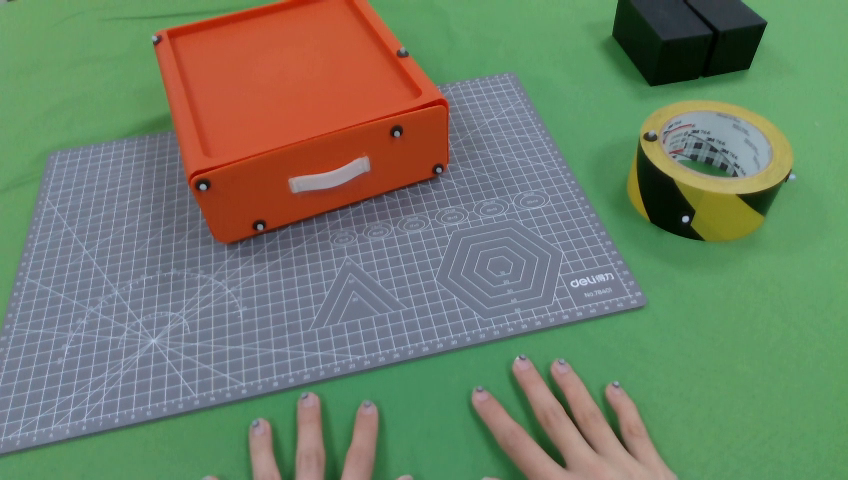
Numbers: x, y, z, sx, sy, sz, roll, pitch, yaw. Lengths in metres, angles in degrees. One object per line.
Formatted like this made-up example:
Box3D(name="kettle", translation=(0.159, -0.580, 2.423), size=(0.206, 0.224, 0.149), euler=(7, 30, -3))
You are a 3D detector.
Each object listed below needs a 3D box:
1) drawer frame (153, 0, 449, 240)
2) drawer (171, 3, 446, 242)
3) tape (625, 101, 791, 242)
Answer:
Box3D(name="drawer frame", translation=(-0.112, -0.120, 0.529), size=(0.202, 0.083, 0.211), euler=(-21, 50, -14))
Box3D(name="drawer", translation=(-0.110, -0.116, 0.527), size=(0.195, 0.074, 0.209), euler=(-20, 50, -13))
Box3D(name="tape", translation=(0.220, -0.057, 0.480), size=(0.117, 0.053, 0.115), euler=(-1, 49, 2))
